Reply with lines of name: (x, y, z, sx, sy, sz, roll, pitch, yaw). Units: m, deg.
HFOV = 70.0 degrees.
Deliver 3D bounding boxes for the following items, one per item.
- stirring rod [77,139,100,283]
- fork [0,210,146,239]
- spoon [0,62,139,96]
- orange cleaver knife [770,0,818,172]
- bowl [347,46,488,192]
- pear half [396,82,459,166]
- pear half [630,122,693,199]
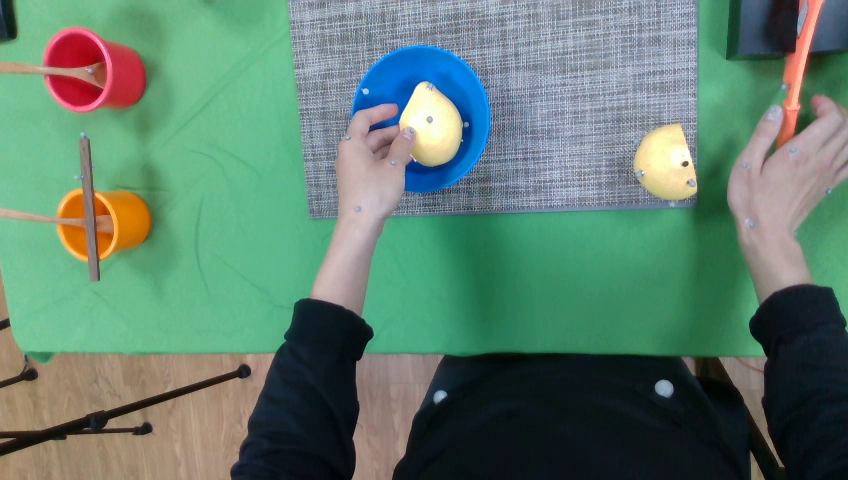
stirring rod: (-0.409, -0.034, 0.738, 0.014, 0.006, 0.176, 3, 101, 9)
fork: (-0.459, -0.024, 0.753, 0.209, 0.018, 0.028, 8, 115, -33)
spoon: (-0.448, -0.200, 0.724, 0.195, 0.021, 0.042, -3, 103, -31)
orange cleaver knife: (0.353, -0.168, 0.581, 0.012, 0.076, 0.213, 2, 128, 18)
bowl: (0.000, -0.130, 0.665, 0.151, 0.077, 0.152, 2, 100, 13)
pear half: (0.009, -0.122, 0.637, 0.070, 0.031, 0.088, -15, 107, -23)
pear half: (0.237, -0.076, 0.605, 0.056, 0.110, 0.076, -21, 90, 16)
